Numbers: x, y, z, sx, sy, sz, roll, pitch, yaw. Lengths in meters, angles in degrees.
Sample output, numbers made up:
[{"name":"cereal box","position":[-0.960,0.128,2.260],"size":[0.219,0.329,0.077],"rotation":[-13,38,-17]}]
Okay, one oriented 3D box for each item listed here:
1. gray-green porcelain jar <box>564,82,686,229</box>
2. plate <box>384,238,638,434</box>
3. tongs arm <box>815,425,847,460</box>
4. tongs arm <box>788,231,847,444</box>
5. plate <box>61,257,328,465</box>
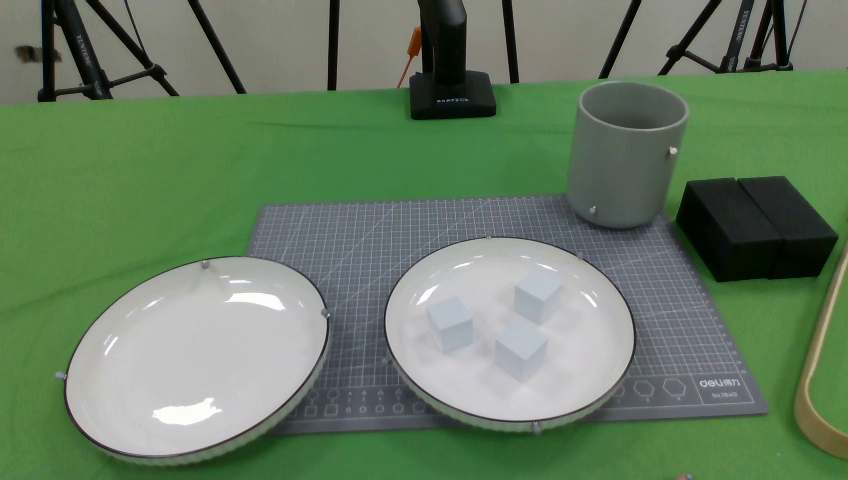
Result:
[{"name":"gray-green porcelain jar","position":[0.203,-0.083,0.631],"size":[0.106,0.127,0.105],"rotation":[-1,40,1]},{"name":"plate","position":[0.071,0.078,0.515],"size":[0.208,0.039,0.205],"rotation":[-1,40,1]},{"name":"tongs arm","position":[0.451,0.069,0.517],"size":[0.385,0.027,0.050],"rotation":[-30,48,-28]},{"name":"tongs arm","position":[0.394,0.036,0.564],"size":[0.028,0.028,0.387],"rotation":[27,49,26]},{"name":"plate","position":[-0.181,0.096,0.503],"size":[0.209,0.038,0.207],"rotation":[-2,40,2]}]
